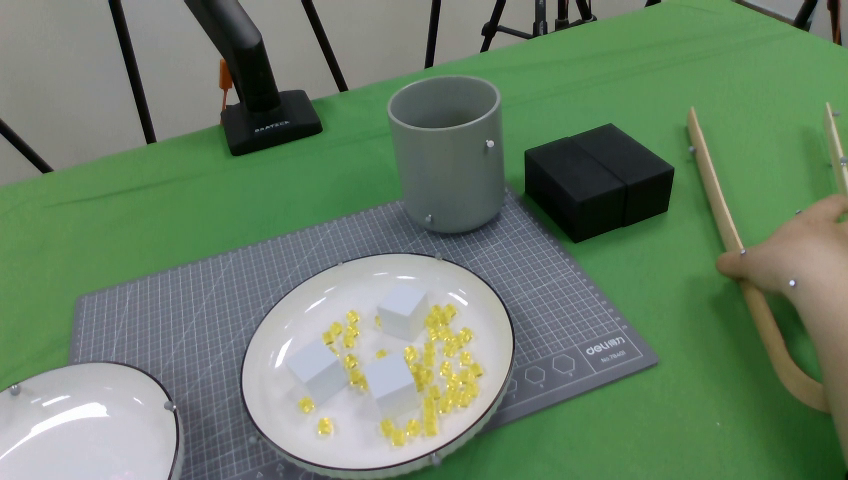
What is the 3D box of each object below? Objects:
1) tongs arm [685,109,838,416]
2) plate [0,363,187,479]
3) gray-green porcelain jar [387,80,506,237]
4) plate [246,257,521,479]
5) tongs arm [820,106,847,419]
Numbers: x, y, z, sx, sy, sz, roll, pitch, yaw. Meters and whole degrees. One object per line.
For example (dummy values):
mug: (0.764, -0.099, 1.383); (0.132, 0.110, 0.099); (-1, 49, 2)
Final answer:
tongs arm: (0.283, -0.014, 0.550); (0.028, 0.028, 0.384); (1, 41, 7)
plate: (-0.262, 0.178, 0.412); (0.209, 0.038, 0.207); (-6, 41, 6)
gray-green porcelain jar: (0.026, -0.075, 0.589); (0.106, 0.128, 0.105); (-5, 40, 5)
plate: (-0.030, 0.094, 0.469); (0.207, 0.039, 0.205); (-5, 40, 5)
tongs arm: (0.355, -0.011, 0.530); (0.050, 0.027, 0.382); (7, 43, 18)
